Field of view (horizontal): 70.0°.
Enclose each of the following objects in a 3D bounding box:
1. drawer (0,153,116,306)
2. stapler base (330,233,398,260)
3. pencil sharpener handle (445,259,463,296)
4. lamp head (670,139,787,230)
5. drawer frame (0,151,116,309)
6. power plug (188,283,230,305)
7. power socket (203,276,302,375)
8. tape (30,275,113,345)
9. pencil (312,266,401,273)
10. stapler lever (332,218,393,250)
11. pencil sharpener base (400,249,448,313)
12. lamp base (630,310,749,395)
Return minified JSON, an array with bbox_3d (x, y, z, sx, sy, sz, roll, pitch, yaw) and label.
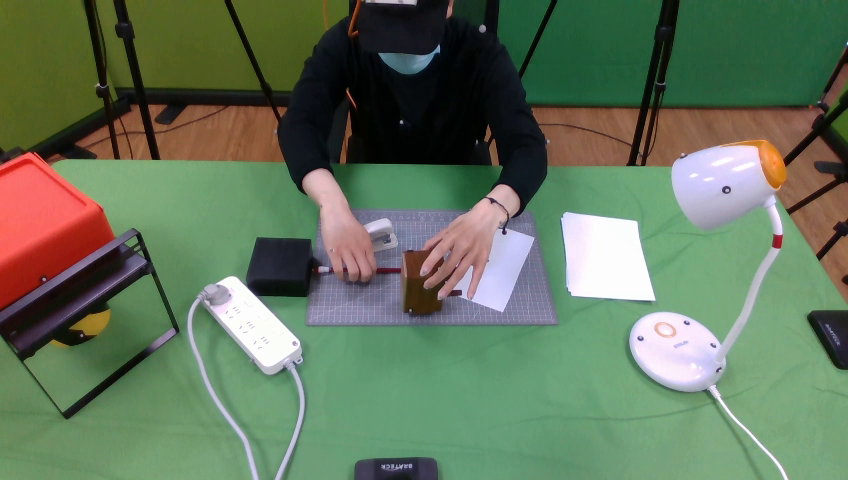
[{"bbox_3d":[-0.601,-0.015,0.880,0.193,0.073,0.211,32,53,23],"label":"drawer"},{"bbox_3d":[-0.116,0.004,1.181,0.131,0.024,0.041,-13,48,-14],"label":"stapler base"},{"bbox_3d":[0.052,0.065,1.035,0.031,0.068,0.036,-2,26,-7],"label":"pencil sharpener handle"},{"bbox_3d":[0.415,-0.079,0.812,0.113,0.123,0.112,13,70,-37],"label":"lamp head"},{"bbox_3d":[-0.604,-0.013,0.875,0.201,0.083,0.213,31,52,23],"label":"drawer frame"},{"bbox_3d":[-0.368,0.099,1.036,0.072,0.053,0.035,-24,52,-25],"label":"power plug"},{"bbox_3d":[-0.297,0.141,1.034,0.072,0.033,0.225,-34,58,-30],"label":"power socket"},{"bbox_3d":[-0.593,0.117,1.021,0.117,0.053,0.116,2,46,-2],"label":"tape"},{"bbox_3d":[-0.112,0.054,1.137,0.194,0.012,0.012,-1,46,-1],"label":"pencil"},{"bbox_3d":[-0.116,-0.012,1.162,0.118,0.040,0.026,-13,48,-14],"label":"stapler lever"},{"bbox_3d":[-0.001,0.072,1.041,0.077,0.107,0.061,-2,47,-7],"label":"pencil sharpener base"},{"bbox_3d":[0.447,0.143,0.984,0.161,0.181,0.178,-24,55,-24],"label":"lamp base"}]
